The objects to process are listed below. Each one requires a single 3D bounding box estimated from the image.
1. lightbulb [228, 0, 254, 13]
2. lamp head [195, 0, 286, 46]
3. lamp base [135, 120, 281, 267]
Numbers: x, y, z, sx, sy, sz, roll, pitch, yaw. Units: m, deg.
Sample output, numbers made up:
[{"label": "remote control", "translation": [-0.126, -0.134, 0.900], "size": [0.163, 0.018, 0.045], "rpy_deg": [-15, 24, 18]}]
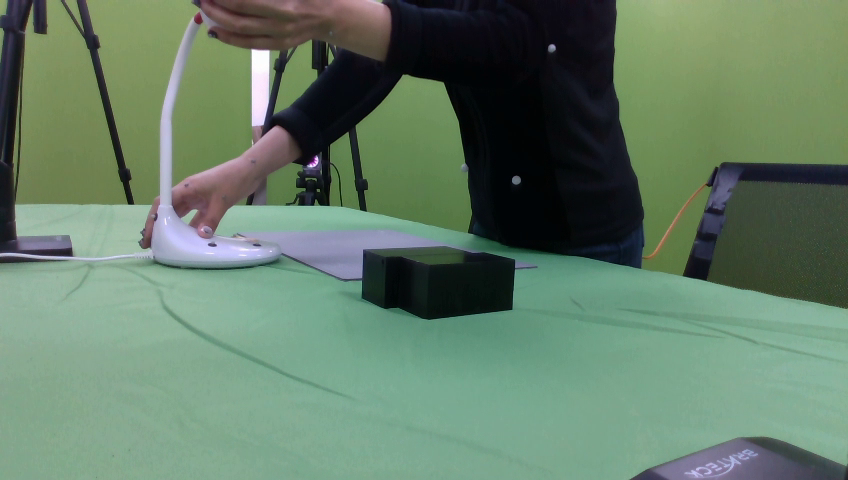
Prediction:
[{"label": "lightbulb", "translation": [-0.183, -0.288, 0.620], "size": [0.059, 0.107, 0.059], "rpy_deg": [8, 9, -1]}, {"label": "lamp head", "translation": [-0.193, -0.266, 0.626], "size": [0.112, 0.123, 0.112], "rpy_deg": [9, 17, -2]}, {"label": "lamp base", "translation": [-0.276, -0.061, 0.774], "size": [0.160, 0.180, 0.180], "rpy_deg": [8, 12, 44]}]
